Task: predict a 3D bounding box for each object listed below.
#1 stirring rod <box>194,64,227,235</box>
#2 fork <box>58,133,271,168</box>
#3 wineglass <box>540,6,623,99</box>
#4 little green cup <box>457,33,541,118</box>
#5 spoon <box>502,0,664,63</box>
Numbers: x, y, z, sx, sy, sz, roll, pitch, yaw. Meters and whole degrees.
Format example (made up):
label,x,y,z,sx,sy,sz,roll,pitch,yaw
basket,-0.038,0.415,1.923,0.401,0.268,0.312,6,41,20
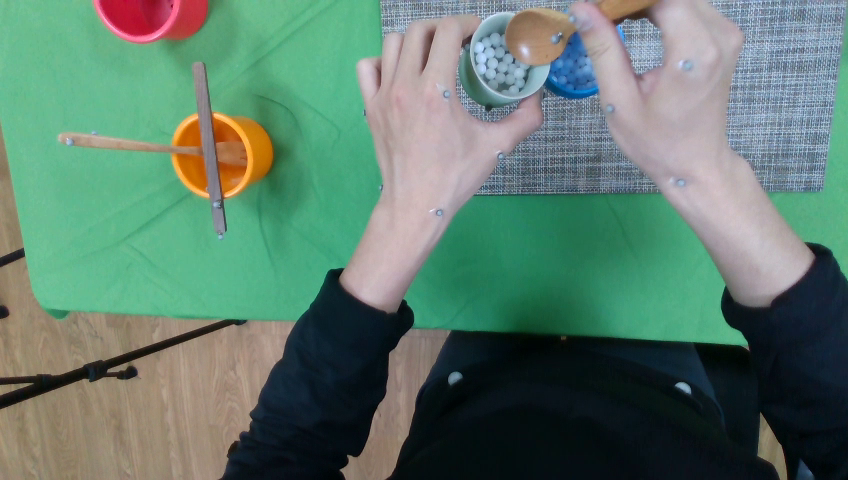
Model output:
label,x,y,z,sx,sy,sz,roll,pitch,yaw
stirring rod,-0.222,-0.091,0.630,0.014,0.006,0.177,0,104,10
fork,-0.264,-0.095,0.637,0.208,0.018,0.028,0,116,-36
wineglass,0.132,-0.163,0.540,0.073,0.172,0.074,2,104,9
little green cup,0.055,-0.125,0.455,0.061,0.038,0.062,-1,114,-1
spoon,0.094,-0.129,0.350,0.021,0.192,0.042,-46,108,-4
